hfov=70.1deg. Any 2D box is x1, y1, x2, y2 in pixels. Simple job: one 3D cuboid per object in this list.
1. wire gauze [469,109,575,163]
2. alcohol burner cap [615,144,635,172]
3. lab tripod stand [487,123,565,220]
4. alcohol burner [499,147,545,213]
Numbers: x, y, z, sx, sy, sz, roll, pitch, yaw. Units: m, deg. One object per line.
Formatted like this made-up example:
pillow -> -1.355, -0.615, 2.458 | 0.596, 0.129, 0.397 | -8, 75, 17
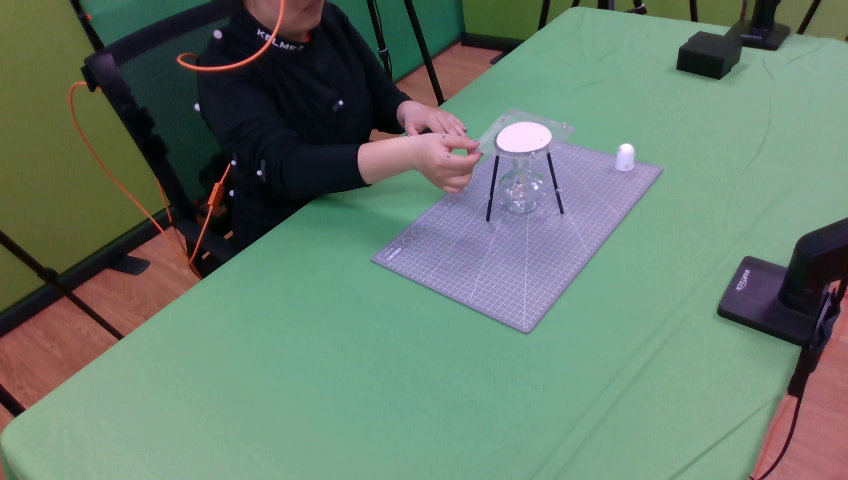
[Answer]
wire gauze -> 0.154, -0.163, 0.950 | 0.120, 0.011, 0.125 | 22, 50, 32
alcohol burner cap -> 0.357, -0.147, 1.069 | 0.034, 0.048, 0.033 | -7, 40, 6
lab tripod stand -> 0.162, -0.110, 0.992 | 0.148, 0.132, 0.147 | -5, 42, 5
alcohol burner -> 0.161, -0.104, 1.001 | 0.078, 0.120, 0.077 | -6, 42, 6
